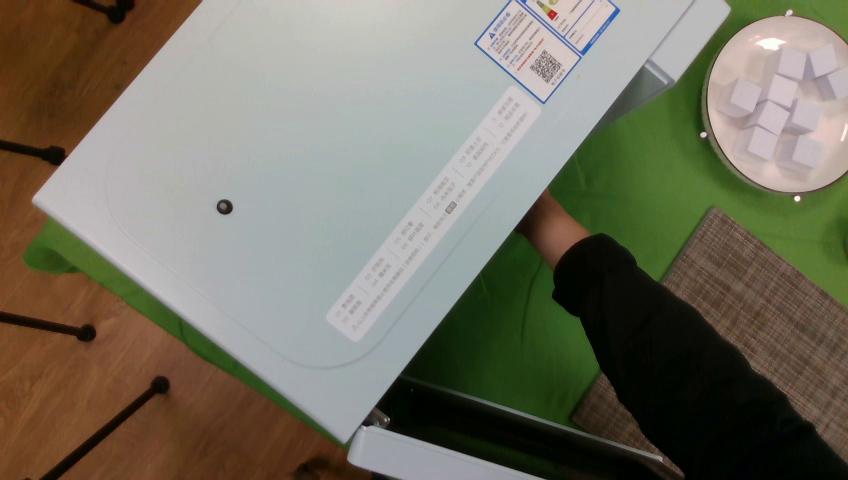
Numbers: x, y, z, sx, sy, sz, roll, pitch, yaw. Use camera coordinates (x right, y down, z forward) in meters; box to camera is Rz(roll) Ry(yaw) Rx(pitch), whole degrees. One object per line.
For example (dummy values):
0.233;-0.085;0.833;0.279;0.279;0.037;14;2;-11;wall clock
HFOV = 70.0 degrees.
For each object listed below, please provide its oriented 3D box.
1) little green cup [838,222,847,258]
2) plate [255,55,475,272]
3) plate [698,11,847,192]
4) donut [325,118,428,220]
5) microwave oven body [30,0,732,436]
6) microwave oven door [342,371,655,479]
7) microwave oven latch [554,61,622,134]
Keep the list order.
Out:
0.531;-0.001;0.720;0.061;0.038;0.061;0;88;-6;little green cup
-0.056;-0.073;0.591;0.209;0.038;0.208;1;87;-8;plate
0.417;-0.158;0.711;0.208;0.039;0.207;0;89;-6;plate
-0.045;-0.068;0.582;0.099;0.048;0.099;0;96;-3;donut
-0.037;-0.114;0.549;0.326;0.260;0.441;39;86;-4;microwave oven body
0.102;0.198;0.555;0.356;0.243;0.039;19;86;-5;microwave oven door
0.180;-0.156;0.668;0.030;0.029;0.079;43;86;-4;microwave oven latch
